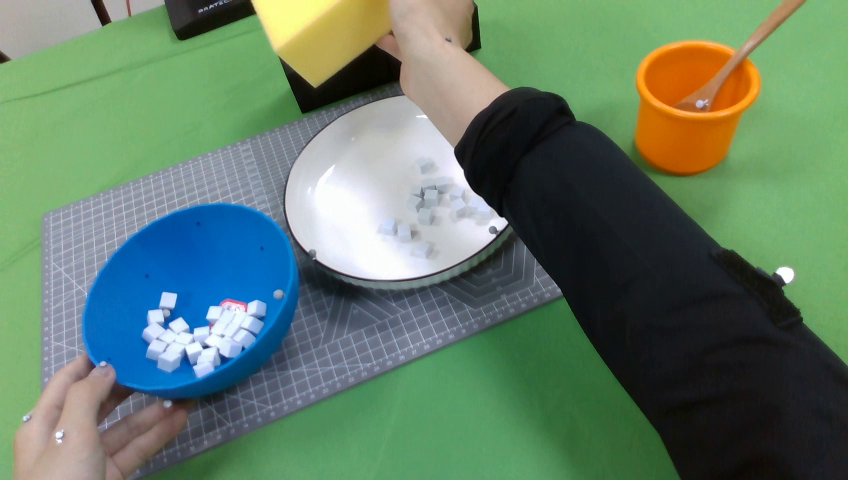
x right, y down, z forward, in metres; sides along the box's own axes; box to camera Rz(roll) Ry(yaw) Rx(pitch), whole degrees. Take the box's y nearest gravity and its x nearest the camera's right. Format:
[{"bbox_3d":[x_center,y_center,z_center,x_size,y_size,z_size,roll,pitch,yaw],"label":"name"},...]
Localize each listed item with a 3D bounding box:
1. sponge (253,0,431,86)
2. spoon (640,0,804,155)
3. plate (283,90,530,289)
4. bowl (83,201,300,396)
[{"bbox_3d":[-0.049,-0.247,0.526,0.207,0.061,0.117,-33,63,11],"label":"sponge"},{"bbox_3d":[0.246,-0.143,0.474,0.022,0.194,0.041,5,44,-44],"label":"spoon"},{"bbox_3d":[-0.015,-0.044,0.517,0.209,0.038,0.207,-5,55,7],"label":"plate"},{"bbox_3d":[-0.156,0.053,0.448,0.151,0.077,0.150,-5,54,7],"label":"bowl"}]
